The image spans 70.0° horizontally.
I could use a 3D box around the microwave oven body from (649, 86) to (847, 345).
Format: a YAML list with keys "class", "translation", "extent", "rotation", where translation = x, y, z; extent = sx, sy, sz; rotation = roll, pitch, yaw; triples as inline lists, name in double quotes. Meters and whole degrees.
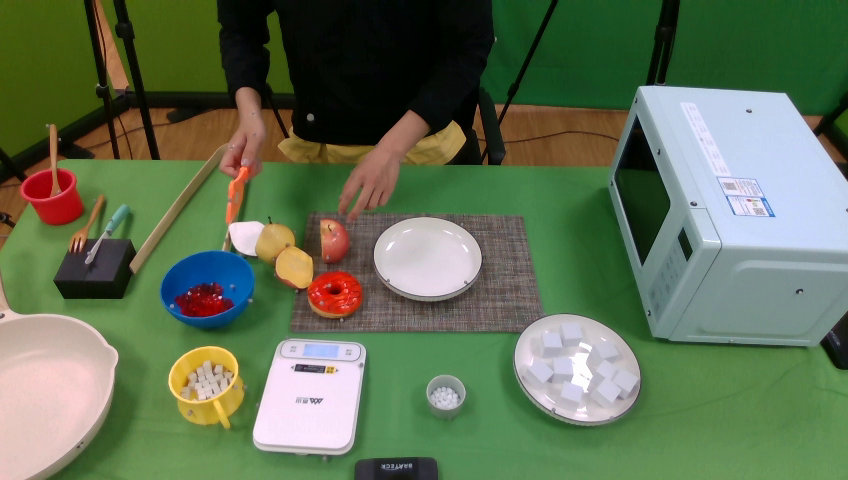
- class: "microwave oven body"
  translation: [0.567, -0.053, 1.118]
  extent: [0.326, 0.261, 0.439]
  rotation: [2, 45, -1]

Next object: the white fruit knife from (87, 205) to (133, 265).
- class: "white fruit knife"
  translation: [-0.584, -0.013, 1.129]
  extent: [0.016, 0.027, 0.206]
  rotation: [-1, 32, -4]

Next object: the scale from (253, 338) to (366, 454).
- class: "scale"
  translation: [-0.175, 0.236, 0.951]
  extent: [0.149, 0.032, 0.199]
  rotation: [4, 45, 0]

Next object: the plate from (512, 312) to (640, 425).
- class: "plate"
  translation: [0.246, 0.213, 0.999]
  extent: [0.208, 0.039, 0.206]
  rotation: [2, 46, -2]

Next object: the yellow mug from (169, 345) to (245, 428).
- class: "yellow mug"
  translation: [-0.322, 0.230, 0.922]
  extent: [0.100, 0.064, 0.130]
  rotation: [-24, 53, -25]

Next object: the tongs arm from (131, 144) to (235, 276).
- class: "tongs arm"
  translation: [-0.484, -0.075, 1.236]
  extent: [0.028, 0.028, 0.385]
  rotation: [5, 45, 14]

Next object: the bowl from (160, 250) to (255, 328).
- class: "bowl"
  translation: [-0.362, 0.098, 1.040]
  extent: [0.151, 0.077, 0.150]
  rotation: [2, 45, -2]

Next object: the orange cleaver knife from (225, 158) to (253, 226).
- class: "orange cleaver knife"
  translation: [-0.316, -0.087, 1.035]
  extent: [0.012, 0.077, 0.210]
  rotation: [9, 22, -11]

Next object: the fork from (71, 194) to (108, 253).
- class: "fork"
  translation: [-0.634, -0.036, 1.158]
  extent: [0.028, 0.019, 0.206]
  rotation: [-7, 31, -9]

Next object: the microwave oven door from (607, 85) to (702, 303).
- class: "microwave oven door"
  translation: [0.423, -0.094, 1.140]
  extent: [0.039, 0.245, 0.353]
  rotation: [2, 46, -1]

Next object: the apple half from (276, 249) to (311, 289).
- class: "apple half"
  translation: [-0.244, 0.057, 1.114]
  extent: [0.082, 0.033, 0.081]
  rotation: [38, 31, -29]

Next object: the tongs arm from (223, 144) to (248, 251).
- class: "tongs arm"
  translation: [-0.398, -0.073, 1.232]
  extent: [0.051, 0.027, 0.382]
  rotation: [-3, 45, 1]

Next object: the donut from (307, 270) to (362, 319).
- class: "donut"
  translation: [-0.157, 0.096, 1.073]
  extent: [0.099, 0.048, 0.098]
  rotation: [4, 45, -4]

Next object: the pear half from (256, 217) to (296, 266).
- class: "pear half"
  translation: [-0.269, 0.001, 1.118]
  extent: [0.056, 0.110, 0.076]
  rotation: [25, 54, 20]

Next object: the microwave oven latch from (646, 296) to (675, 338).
- class: "microwave oven latch"
  translation: [0.412, 0.134, 1.061]
  extent: [0.030, 0.029, 0.078]
  rotation: [4, 45, 1]

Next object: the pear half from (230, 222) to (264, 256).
- class: "pear half"
  translation: [-0.333, 0.000, 1.167]
  extent: [0.088, 0.031, 0.070]
  rotation: [31, 52, 4]

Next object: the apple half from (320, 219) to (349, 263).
- class: "apple half"
  translation: [-0.168, 0.002, 1.144]
  extent: [0.053, 0.075, 0.080]
  rotation: [-4, 42, -12]

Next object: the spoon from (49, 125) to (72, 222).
- class: "spoon"
  translation: [-0.718, -0.131, 1.189]
  extent: [0.041, 0.021, 0.193]
  rotation: [-4, 90, -6]

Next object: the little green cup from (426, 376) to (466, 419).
- class: "little green cup"
  translation: [0.033, 0.248, 0.950]
  extent: [0.061, 0.039, 0.061]
  rotation: [2, 46, -2]

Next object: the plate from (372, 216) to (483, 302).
- class: "plate"
  translation: [0.006, 0.038, 1.145]
  extent: [0.209, 0.038, 0.208]
  rotation: [2, 46, -2]

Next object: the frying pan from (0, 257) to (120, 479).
- class: "frying pan"
  translation: [-0.647, 0.164, 0.936]
  extent: [0.307, 0.103, 0.485]
  rotation: [-19, 58, -22]
